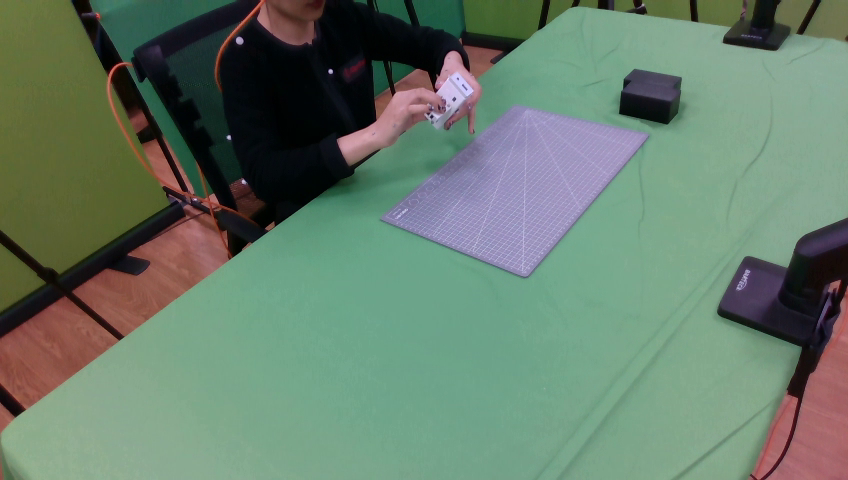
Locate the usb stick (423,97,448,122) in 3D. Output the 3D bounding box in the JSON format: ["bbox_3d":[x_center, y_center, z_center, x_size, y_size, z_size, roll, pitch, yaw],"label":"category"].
[{"bbox_3d":[0.024,-0.241,1.101,0.027,0.021,0.059,39,46,1],"label":"usb stick"}]

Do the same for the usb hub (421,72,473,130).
[{"bbox_3d":[0.041,-0.255,1.115,0.049,0.124,0.025,48,58,-2],"label":"usb hub"}]
